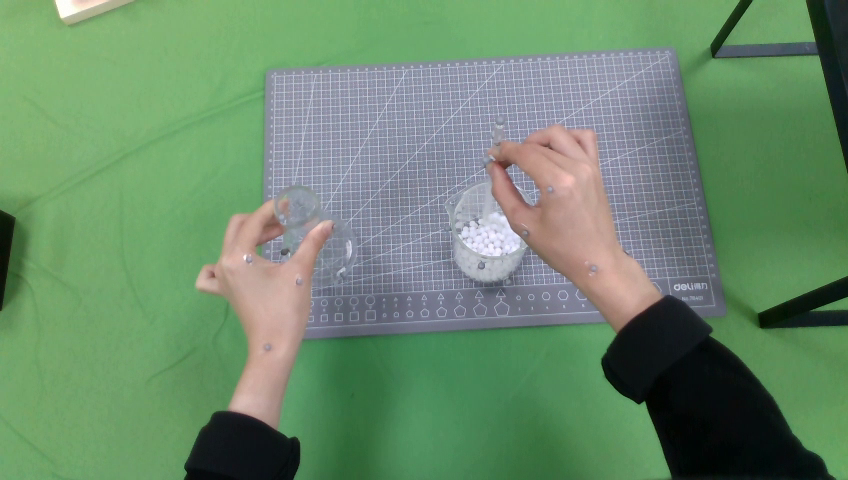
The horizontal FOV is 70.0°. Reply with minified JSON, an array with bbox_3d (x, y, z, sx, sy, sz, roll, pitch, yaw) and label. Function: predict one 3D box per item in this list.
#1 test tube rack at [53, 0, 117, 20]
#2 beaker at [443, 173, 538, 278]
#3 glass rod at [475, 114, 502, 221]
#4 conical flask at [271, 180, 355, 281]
[{"bbox_3d":[-0.316,-0.340,0.672,0.242,0.085,0.066,-24,74,-6],"label":"test tube rack"},{"bbox_3d":[0.057,-0.009,0.559,0.084,0.101,0.073,20,74,8],"label":"beaker"},{"bbox_3d":[0.052,-0.053,0.506,0.008,0.201,0.008,0,72,1],"label":"glass rod"},{"bbox_3d":[-0.106,-0.013,0.550,0.075,0.122,0.075,0,71,0],"label":"conical flask"}]
